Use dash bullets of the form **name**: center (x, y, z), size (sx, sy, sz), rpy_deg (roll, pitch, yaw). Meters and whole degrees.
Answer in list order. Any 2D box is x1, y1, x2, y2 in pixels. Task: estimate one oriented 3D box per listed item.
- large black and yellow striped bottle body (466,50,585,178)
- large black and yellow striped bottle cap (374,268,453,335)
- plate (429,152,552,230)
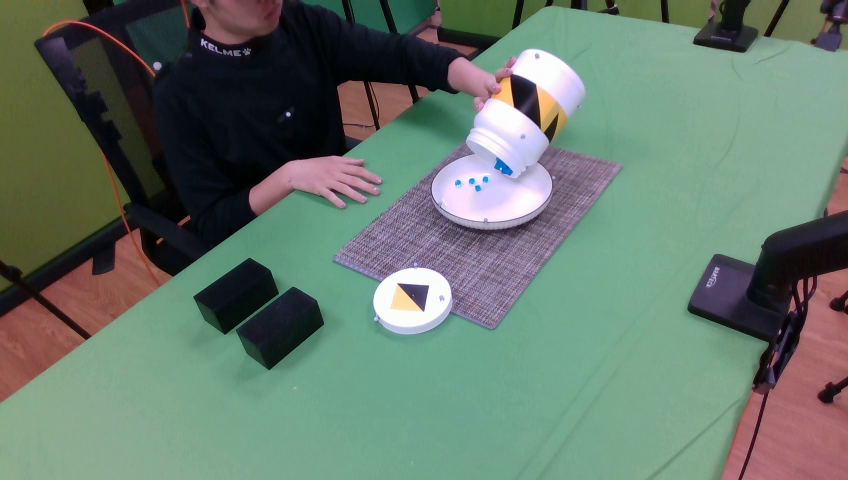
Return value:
- **large black and yellow striped bottle body**: center (0.167, -0.209, 1.018), size (0.129, 0.132, 0.184), rpy_deg (36, 88, 39)
- **large black and yellow striped bottle cap**: center (-0.015, 0.087, 0.871), size (0.115, 0.019, 0.114), rpy_deg (-6, 43, 6)
- **plate**: center (0.113, -0.082, 1.032), size (0.207, 0.039, 0.206), rpy_deg (-4, 41, 4)
